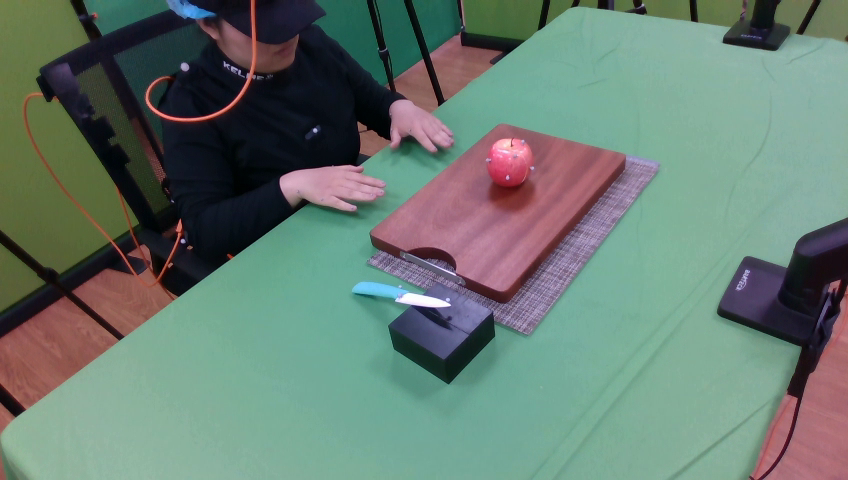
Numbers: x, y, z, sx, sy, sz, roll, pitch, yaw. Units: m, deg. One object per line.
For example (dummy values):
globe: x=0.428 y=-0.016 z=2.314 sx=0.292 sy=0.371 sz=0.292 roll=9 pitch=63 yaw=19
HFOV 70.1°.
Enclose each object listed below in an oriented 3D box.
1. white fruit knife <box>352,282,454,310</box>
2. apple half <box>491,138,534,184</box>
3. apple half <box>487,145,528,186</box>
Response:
white fruit knife: x=-0.032 y=0.079 z=0.855 sx=0.205 sy=0.016 sz=0.027 roll=6 pitch=38 yaw=47
apple half: x=0.156 y=-0.139 z=1.038 sx=0.080 sy=0.075 sz=0.053 roll=16 pitch=42 yaw=32
apple half: x=0.134 y=-0.118 z=1.014 sx=0.080 sy=0.081 sz=0.033 roll=18 pitch=44 yaw=29
